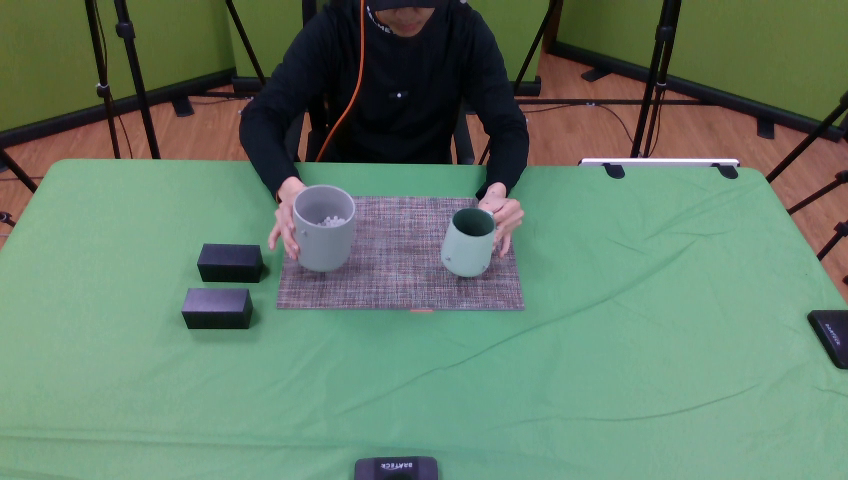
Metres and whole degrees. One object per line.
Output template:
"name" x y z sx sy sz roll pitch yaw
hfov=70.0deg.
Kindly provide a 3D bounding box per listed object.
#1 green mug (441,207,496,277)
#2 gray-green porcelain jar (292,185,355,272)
"green mug" 0.090 -0.005 1.098 0.092 0.105 0.125 28 47 18
"gray-green porcelain jar" -0.178 -0.015 1.059 0.106 0.127 0.105 7 46 -7
